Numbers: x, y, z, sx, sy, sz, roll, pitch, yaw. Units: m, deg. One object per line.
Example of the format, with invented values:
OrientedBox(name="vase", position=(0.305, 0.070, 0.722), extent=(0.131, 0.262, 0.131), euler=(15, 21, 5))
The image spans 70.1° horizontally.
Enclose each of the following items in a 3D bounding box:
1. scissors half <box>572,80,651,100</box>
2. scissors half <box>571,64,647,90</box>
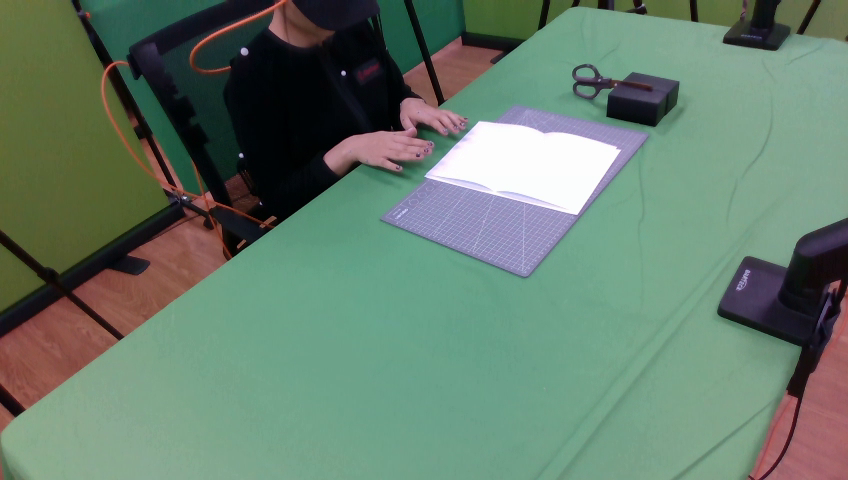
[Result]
OrientedBox(name="scissors half", position=(0.381, -0.309, 1.239), extent=(0.174, 0.040, 0.013), euler=(9, 32, 45))
OrientedBox(name="scissors half", position=(0.378, -0.327, 1.229), extent=(0.174, 0.040, 0.013), euler=(25, 48, 33))
